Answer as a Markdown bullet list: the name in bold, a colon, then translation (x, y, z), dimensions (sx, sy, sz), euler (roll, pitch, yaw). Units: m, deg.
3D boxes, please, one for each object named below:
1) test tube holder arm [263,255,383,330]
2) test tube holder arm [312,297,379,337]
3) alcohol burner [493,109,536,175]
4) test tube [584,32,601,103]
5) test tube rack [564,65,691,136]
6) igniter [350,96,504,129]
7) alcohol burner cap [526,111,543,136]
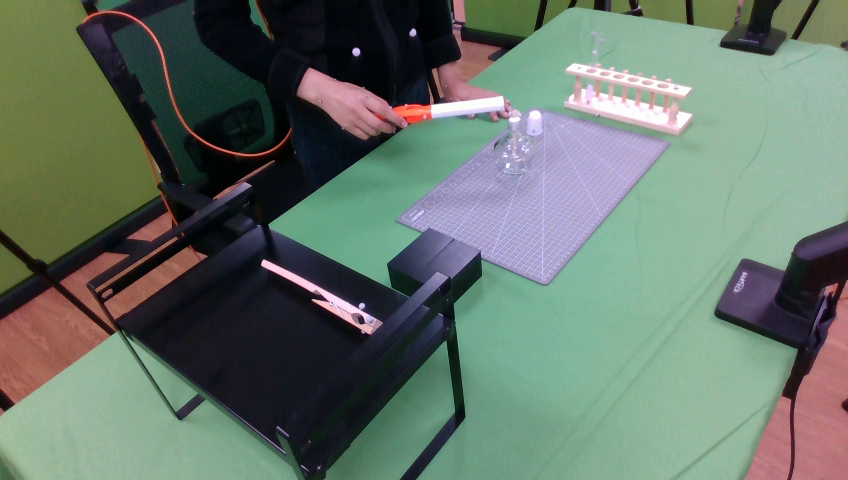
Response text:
- **test tube holder arm**: translation (-0.113, 0.054, 0.647), dimensions (0.177, 0.015, 0.013), euler (26, 80, 33)
- **test tube holder arm**: translation (-0.082, 0.075, 0.622), dimensions (0.087, 0.015, 0.010), euler (27, 80, 33)
- **alcohol burner**: translation (0.163, -0.179, 1.087), dimensions (0.078, 0.119, 0.077), euler (-5, 39, 5)
- **test tube**: translation (0.333, -0.338, 1.198), dimensions (0.017, 0.151, 0.017), euler (-3, 45, 3)
- **test tube rack**: translation (0.404, -0.288, 1.204), dimensions (0.240, 0.085, 0.067), euler (24, 49, 32)
- **igniter**: translation (0.002, -0.225, 1.067), dimensions (0.276, 0.025, 0.057), euler (-5, 38, 6)
- **alcohol burner cap**: translation (0.219, -0.232, 1.196), dimensions (0.034, 0.048, 0.033), euler (-4, 41, 4)
